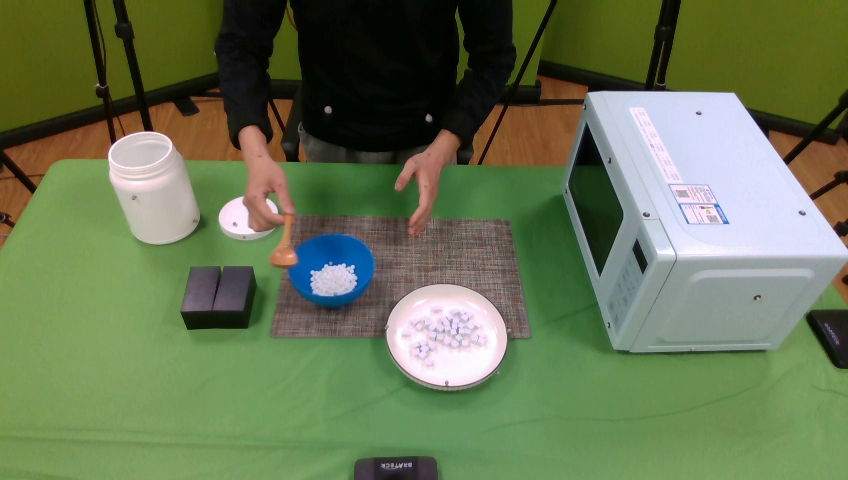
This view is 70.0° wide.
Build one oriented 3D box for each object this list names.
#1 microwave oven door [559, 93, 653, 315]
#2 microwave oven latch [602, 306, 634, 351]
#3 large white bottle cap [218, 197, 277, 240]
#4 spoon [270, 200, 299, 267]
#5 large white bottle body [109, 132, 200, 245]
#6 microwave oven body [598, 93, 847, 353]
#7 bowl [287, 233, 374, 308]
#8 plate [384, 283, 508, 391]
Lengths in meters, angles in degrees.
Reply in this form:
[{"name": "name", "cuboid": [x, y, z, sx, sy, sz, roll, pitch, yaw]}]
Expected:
[{"name": "microwave oven door", "cuboid": [0.327, -0.074, 1.123, 0.039, 0.245, 0.353, 0, 46, -5]}, {"name": "microwave oven latch", "cuboid": [0.332, 0.153, 1.044, 0.030, 0.029, 0.078, 0, 45, -4]}, {"name": "large white bottle cap", "cuboid": [-0.355, -0.045, 1.220, 0.115, 0.018, 0.114, 2, 45, -2]}, {"name": "spoon", "cuboid": [-0.214, -0.015, 0.958, 0.042, 0.022, 0.192, 3, 37, -9]}, {"name": "large white bottle body", "cuboid": [-0.506, -0.097, 1.141, 0.131, 0.185, 0.130, 2, 46, -2]}, {"name": "microwave oven body", "cuboid": [0.475, -0.041, 1.109, 0.326, 0.261, 0.438, -1, 45, -4]}, {"name": "bowl", "cuboid": [-0.164, 0.068, 1.078, 0.151, 0.077, 0.150, 3, 46, -2]}, {"name": "plate", "cuboid": [0.036, 0.165, 1.029, 0.209, 0.038, 0.208, 2, 49, -2]}]
